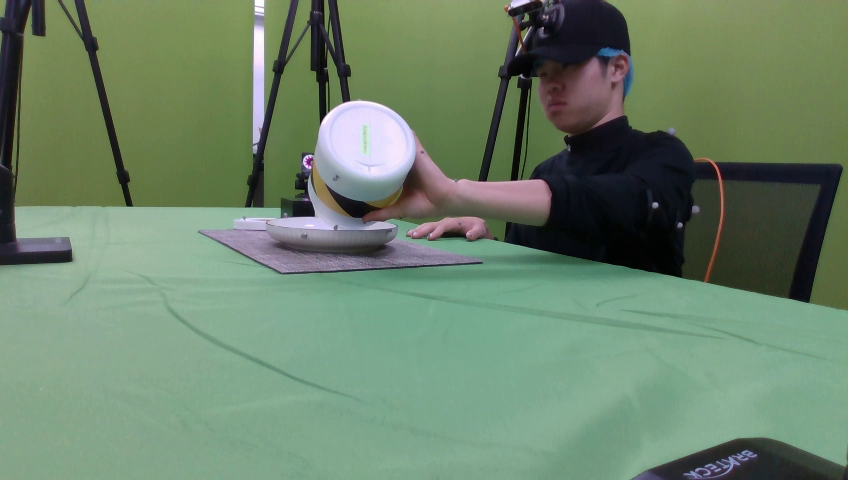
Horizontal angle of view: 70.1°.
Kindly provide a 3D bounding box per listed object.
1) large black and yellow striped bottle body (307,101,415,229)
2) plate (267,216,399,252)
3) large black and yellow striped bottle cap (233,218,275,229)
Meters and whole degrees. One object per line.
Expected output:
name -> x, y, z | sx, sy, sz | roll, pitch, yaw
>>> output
large black and yellow striped bottle body -> -0.097, -0.095, 0.868 | 0.131, 0.130, 0.183 | 0, -24, -17
plate -> -0.145, -0.010, 0.967 | 0.208, 0.039, 0.207 | 2, 7, 0
large black and yellow striped bottle cap -> -0.311, -0.032, 1.172 | 0.115, 0.019, 0.115 | 1, 4, 0
